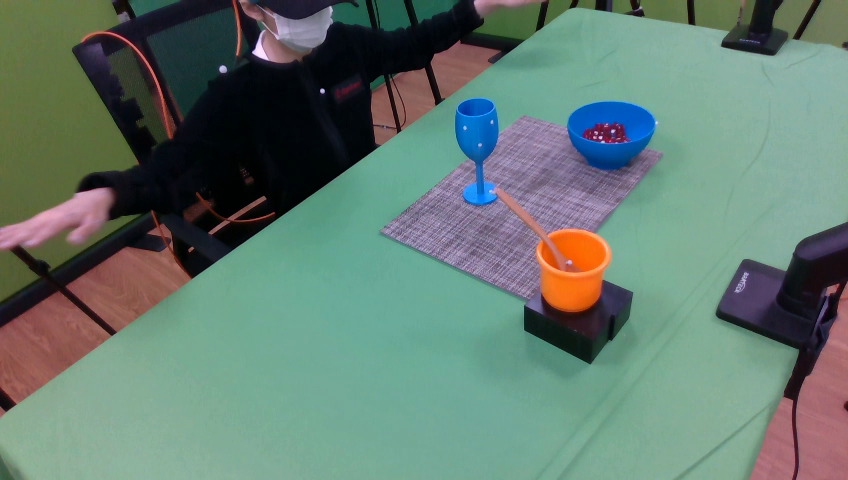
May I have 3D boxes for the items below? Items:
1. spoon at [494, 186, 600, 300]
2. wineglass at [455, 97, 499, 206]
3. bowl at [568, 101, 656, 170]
[{"bbox_3d":[0.157,0.002,0.773,0.042,0.194,0.021,-45,8,-35],"label":"spoon"},{"bbox_3d":[0.091,-0.145,1.009,0.074,0.173,0.073,-5,40,4],"label":"wineglass"},{"bbox_3d":[0.332,-0.179,1.084,0.151,0.077,0.150,-4,40,4],"label":"bowl"}]
